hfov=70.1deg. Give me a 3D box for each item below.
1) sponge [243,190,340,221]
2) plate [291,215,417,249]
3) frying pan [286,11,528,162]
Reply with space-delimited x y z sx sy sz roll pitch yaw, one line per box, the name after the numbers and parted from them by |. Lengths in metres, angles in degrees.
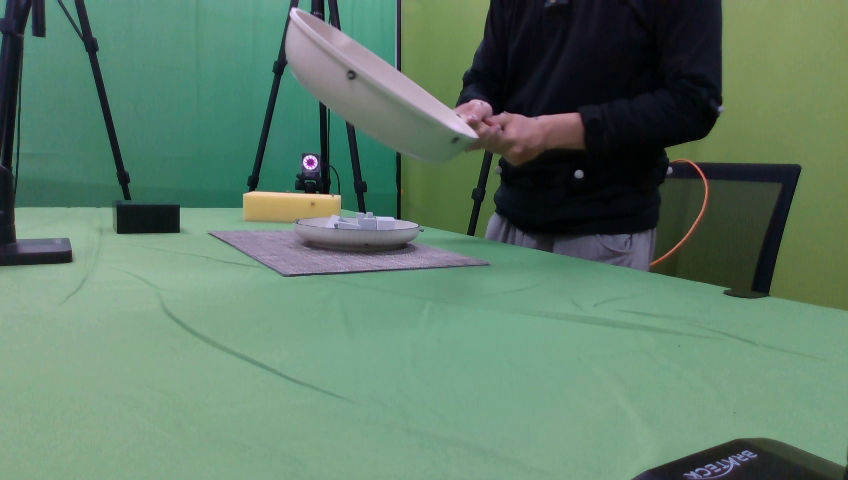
-0.298 -0.077 1.388 0.207 0.061 0.118 2 8 -7 | sponge
-0.115 -0.013 1.002 0.208 0.039 0.207 2 8 0 | plate
0.012 -0.191 0.892 0.491 0.102 0.305 5 32 -46 | frying pan
